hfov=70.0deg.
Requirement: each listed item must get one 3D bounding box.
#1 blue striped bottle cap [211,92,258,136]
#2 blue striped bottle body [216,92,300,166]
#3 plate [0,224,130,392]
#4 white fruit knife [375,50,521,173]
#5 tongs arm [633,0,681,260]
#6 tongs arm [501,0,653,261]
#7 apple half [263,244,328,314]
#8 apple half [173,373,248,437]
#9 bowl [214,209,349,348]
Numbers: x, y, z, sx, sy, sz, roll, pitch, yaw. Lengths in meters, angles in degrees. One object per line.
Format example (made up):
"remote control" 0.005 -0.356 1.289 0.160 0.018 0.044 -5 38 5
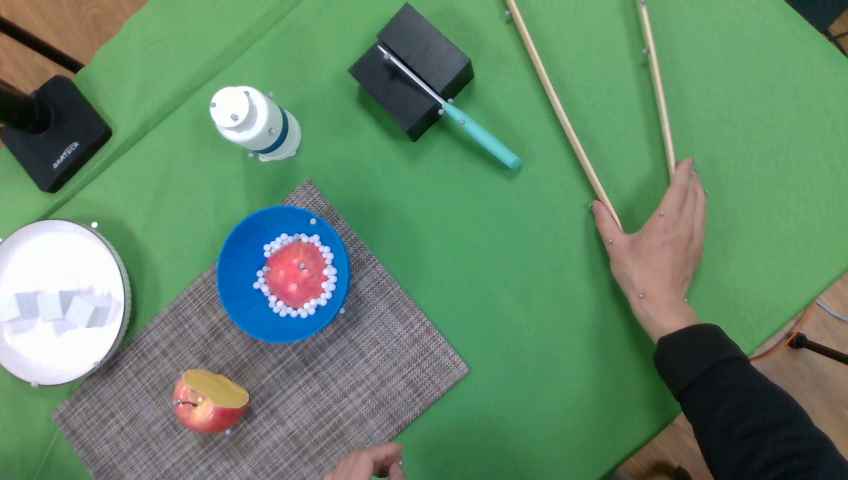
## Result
"blue striped bottle cap" -0.200 -0.133 0.639 0.044 0.020 0.044 0 90 9
"blue striped bottle body" -0.191 -0.127 0.689 0.063 0.121 0.063 -1 85 10
"plate" -0.461 0.084 0.761 0.207 0.039 0.207 -1 86 9
"white fruit knife" 0.027 -0.141 0.672 0.208 0.027 0.016 38 110 -7
"tongs arm" 0.233 -0.171 0.666 0.050 0.026 0.383 -12 84 10
"tongs arm" 0.157 -0.148 0.682 0.028 0.028 0.386 -25 82 5
"apple half" -0.148 0.044 0.683 0.081 0.033 0.081 -1 85 10
"apple half" -0.249 0.195 0.696 0.080 0.075 0.053 29 94 7
"bowl" -0.149 0.044 0.688 0.151 0.077 0.151 -1 86 10
